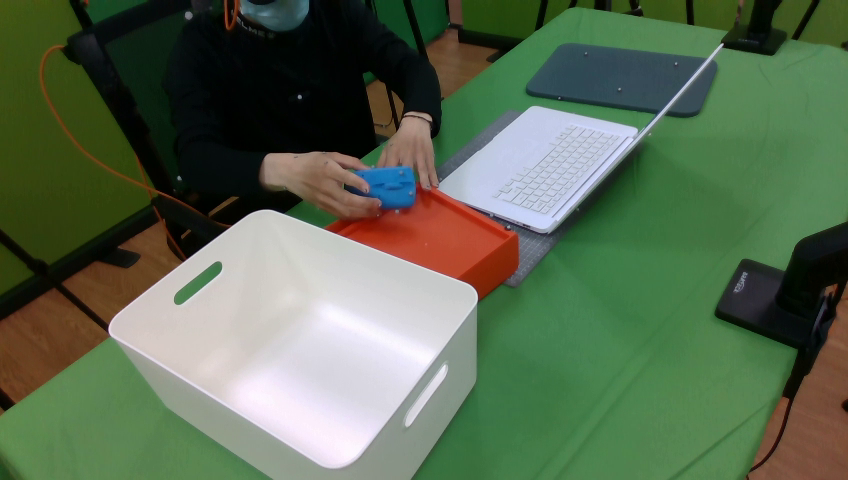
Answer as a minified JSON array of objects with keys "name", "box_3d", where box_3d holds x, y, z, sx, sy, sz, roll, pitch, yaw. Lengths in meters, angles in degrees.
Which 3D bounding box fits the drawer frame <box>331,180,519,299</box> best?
[{"name":"drawer frame","box_3d":[-0.003,0.020,0.901,0.202,0.083,0.211,-35,48,-28]}]

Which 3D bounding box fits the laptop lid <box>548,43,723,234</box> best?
[{"name":"laptop lid","box_3d":[0.336,-0.160,0.956,0.013,0.241,0.358,43,54,8]}]

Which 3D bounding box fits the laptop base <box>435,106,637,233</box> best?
[{"name":"laptop base","box_3d":[0.210,-0.142,1.111,0.233,0.023,0.355,21,48,33]}]

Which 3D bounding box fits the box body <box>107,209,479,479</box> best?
[{"name":"box body","box_3d":[-0.140,0.136,0.725,0.361,0.161,0.254,19,47,28]}]

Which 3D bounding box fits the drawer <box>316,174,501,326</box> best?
[{"name":"drawer","box_3d":[-0.023,0.007,0.918,0.195,0.073,0.210,-34,48,-27]}]

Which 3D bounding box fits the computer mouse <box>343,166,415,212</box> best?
[{"name":"computer mouse","box_3d":[-0.070,-0.077,0.911,0.117,0.041,0.062,-4,82,18]}]

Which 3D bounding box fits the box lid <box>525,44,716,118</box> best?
[{"name":"box lid","box_3d":[0.432,-0.360,1.342,0.369,0.015,0.263,16,45,24]}]
